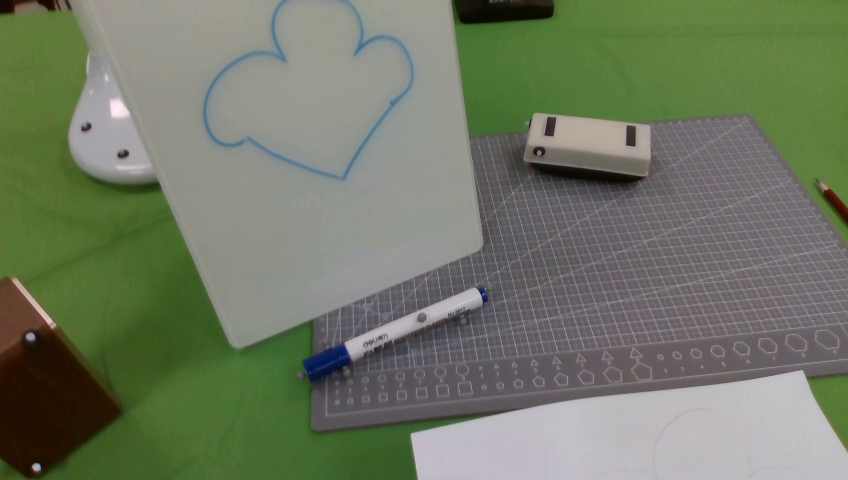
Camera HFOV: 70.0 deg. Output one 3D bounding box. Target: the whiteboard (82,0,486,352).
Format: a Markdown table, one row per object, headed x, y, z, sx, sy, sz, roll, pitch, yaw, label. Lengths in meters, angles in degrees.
| x | y | z | sx | sy | sz | roll | pitch | yaw | label |
| --- | --- | --- | --- | --- | --- | --- | --- | --- | --- |
| -0.097 | -0.111 | 0.457 | 0.217 | 0.308 | 0.142 | -21 | 32 | -16 | whiteboard |

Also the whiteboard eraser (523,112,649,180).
| x | y | z | sx | sy | sz | roll | pitch | yaw | label |
| --- | --- | --- | --- | --- | --- | --- | --- | --- | --- |
| 0.152 | -0.088 | 0.568 | 0.112 | 0.042 | 0.055 | 9 | 50 | 8 | whiteboard eraser |

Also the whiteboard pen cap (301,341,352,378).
| x | y | z | sx | sy | sz | roll | pitch | yaw | label |
| --- | --- | --- | --- | --- | --- | --- | --- | --- | --- |
| -0.069 | 0.085 | 0.431 | 0.033 | 0.018 | 0.018 | -22 | 52 | -16 | whiteboard pen cap |

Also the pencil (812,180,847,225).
| x | y | z | sx | sy | sz | roll | pitch | yaw | label |
| --- | --- | --- | --- | --- | --- | --- | --- | --- | --- |
| 0.382 | 0.012 | 0.505 | 0.012 | 0.012 | 0.192 | -8 | 47 | -6 | pencil |

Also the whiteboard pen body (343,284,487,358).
| x | y | z | sx | sy | sz | roll | pitch | yaw | label |
| --- | --- | --- | --- | --- | --- | --- | --- | --- | --- |
| -0.016 | 0.064 | 0.448 | 0.141 | 0.017 | 0.017 | -21 | 51 | -16 | whiteboard pen body |

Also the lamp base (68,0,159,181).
| x | y | z | sx | sy | sz | roll | pitch | yaw | label |
| --- | --- | --- | --- | --- | --- | --- | --- | --- | --- |
| -0.282 | -0.172 | 0.556 | 0.178 | 0.182 | 0.160 | 26 | 54 | 25 | lamp base |

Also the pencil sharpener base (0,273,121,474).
| x | y | z | sx | sy | sz | roll | pitch | yaw | label |
| --- | --- | --- | --- | --- | --- | --- | --- | --- | --- |
| -0.255 | 0.087 | 0.378 | 0.061 | 0.108 | 0.076 | 34 | 57 | 26 | pencil sharpener base |
